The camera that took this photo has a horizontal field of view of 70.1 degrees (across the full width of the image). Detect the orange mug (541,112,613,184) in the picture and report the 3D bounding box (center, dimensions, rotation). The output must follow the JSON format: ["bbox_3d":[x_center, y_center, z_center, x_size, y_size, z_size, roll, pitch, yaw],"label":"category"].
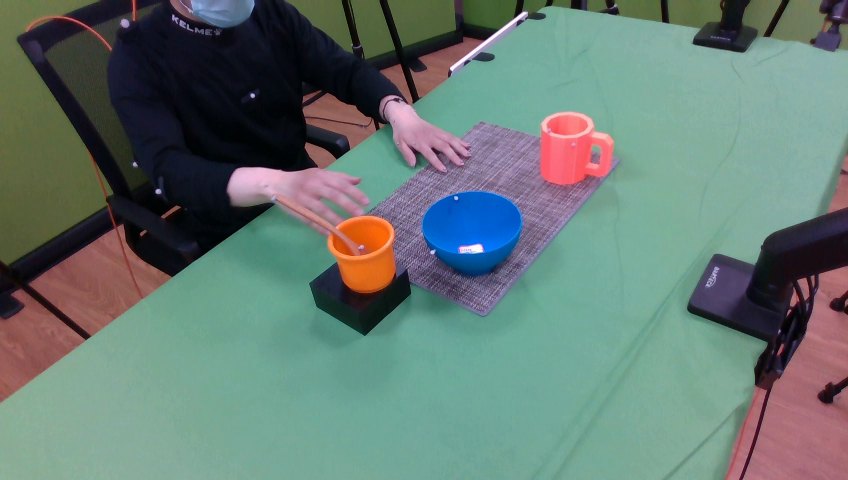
[{"bbox_3d":[0.263,-0.157,1.050,0.125,0.101,0.083,14,45,29],"label":"orange mug"}]

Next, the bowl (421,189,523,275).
[{"bbox_3d":[0.073,-0.001,0.910,0.151,0.077,0.150,-4,41,4],"label":"bowl"}]

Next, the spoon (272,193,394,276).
[{"bbox_3d":[-0.122,-0.009,0.822,0.021,0.195,0.041,-38,23,37],"label":"spoon"}]
